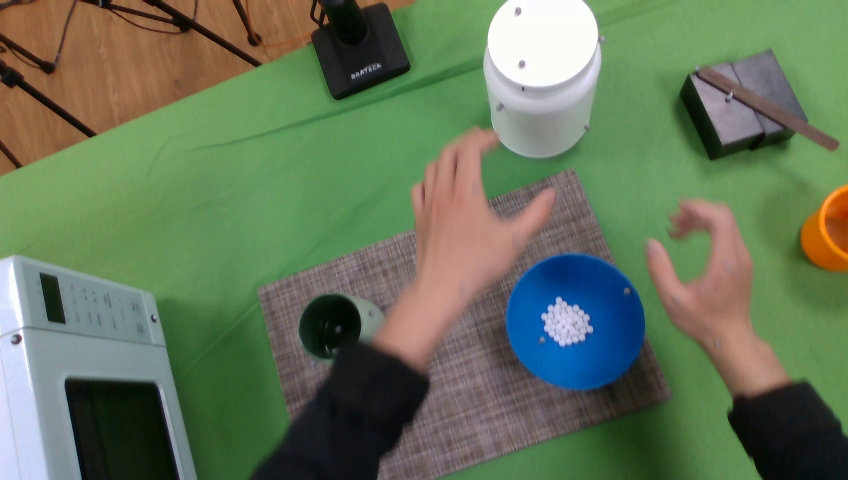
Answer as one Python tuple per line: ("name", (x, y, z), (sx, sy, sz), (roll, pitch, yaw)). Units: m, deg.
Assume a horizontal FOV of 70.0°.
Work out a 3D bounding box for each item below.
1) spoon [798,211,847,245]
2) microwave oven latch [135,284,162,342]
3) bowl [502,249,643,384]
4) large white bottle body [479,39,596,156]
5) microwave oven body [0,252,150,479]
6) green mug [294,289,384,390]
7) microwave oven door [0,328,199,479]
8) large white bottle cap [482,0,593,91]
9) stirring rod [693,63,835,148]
("spoon", (0.501, -0.014, 0.638), (0.022, 0.192, 0.041), (26, 75, -30))
("microwave oven latch", (-0.371, 0.100, 0.797), (0.030, 0.029, 0.078), (-21, 75, 4))
("bowl", (0.168, 0.091, 0.702), (0.151, 0.077, 0.150), (-2, 77, 10))
("large white bottle body", (0.134, -0.192, 0.721), (0.130, 0.186, 0.130), (-2, 76, 9))
("microwave oven body", (-0.465, 0.291, 0.668), (0.326, 0.261, 0.439), (-22, 75, 3))
("green mug", (-0.094, 0.120, 0.726), (0.092, 0.105, 0.124), (-29, 74, 1))
("microwave oven door", (-0.316, 0.273, 0.642), (0.039, 0.245, 0.353), (-22, 74, 4))
("large white bottle cap", (0.119, -0.213, 0.640), (0.114, 0.018, 0.114), (-2, 77, 8))
("stirring rod", (0.394, -0.159, 0.707), (0.175, 0.006, 0.014), (36, 120, 15))
